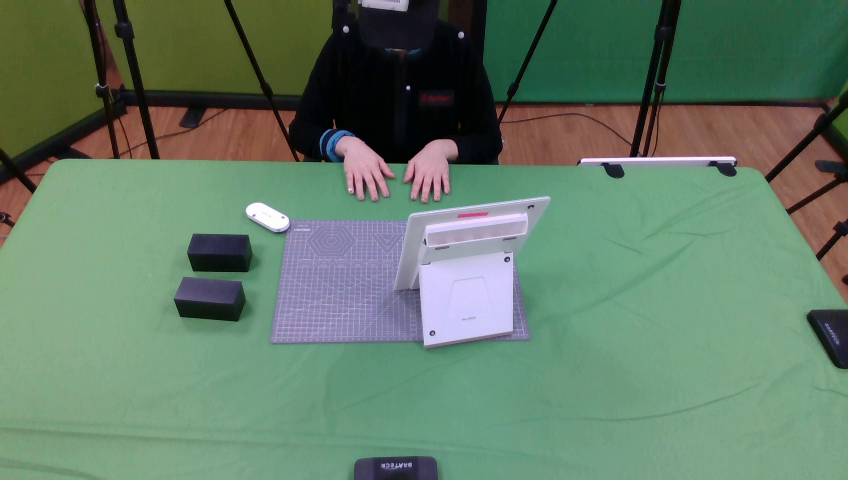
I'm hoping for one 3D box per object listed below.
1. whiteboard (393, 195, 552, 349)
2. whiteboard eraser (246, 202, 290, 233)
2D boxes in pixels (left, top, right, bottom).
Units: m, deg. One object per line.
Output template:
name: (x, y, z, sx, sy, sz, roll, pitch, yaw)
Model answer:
whiteboard: (0.077, 0.071, 0.977, 0.217, 0.306, 0.143, -7, 66, -11)
whiteboard eraser: (-0.315, -0.047, 1.218, 0.101, 0.019, 0.041, 28, 51, 22)
